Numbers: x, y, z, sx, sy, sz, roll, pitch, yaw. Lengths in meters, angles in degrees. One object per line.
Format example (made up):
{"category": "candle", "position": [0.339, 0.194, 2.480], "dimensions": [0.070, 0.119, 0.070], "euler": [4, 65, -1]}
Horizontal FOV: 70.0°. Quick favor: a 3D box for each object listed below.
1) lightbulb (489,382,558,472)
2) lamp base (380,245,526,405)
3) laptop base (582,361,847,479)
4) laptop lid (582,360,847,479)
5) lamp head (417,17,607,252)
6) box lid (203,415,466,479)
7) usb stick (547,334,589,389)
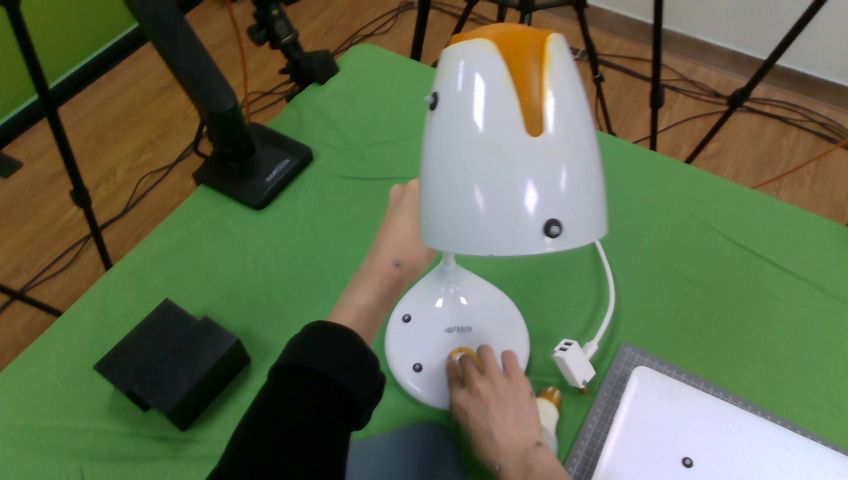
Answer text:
{"category": "lightbulb", "position": [0.105, 0.180, 0.601], "dimensions": [0.059, 0.060, 0.107], "euler": [27, 44, 19]}
{"category": "lamp base", "position": [0.028, 0.051, 0.612], "dimensions": [0.161, 0.182, 0.177], "euler": [-12, 53, -8]}
{"category": "laptop base", "position": [0.317, 0.281, 0.547], "dimensions": [0.352, 0.023, 0.234], "euler": [24, 62, 16]}
{"category": "laptop lid", "position": [0.315, 0.276, 0.536], "dimensions": [0.355, 0.013, 0.240], "euler": [25, 61, 17]}
{"category": "lamp head", "position": [0.047, -0.063, 0.351], "dimensions": [0.112, 0.112, 0.123], "euler": [-5, 99, 1]}
{"category": "box lid", "position": [-0.056, 0.347, 0.508], "dimensions": [0.264, 0.015, 0.367], "euler": [-14, 57, -9]}
{"category": "usb stick", "position": [0.154, 0.130, 0.636], "dimensions": [0.027, 0.059, 0.021], "euler": [-38, 20, -27]}
